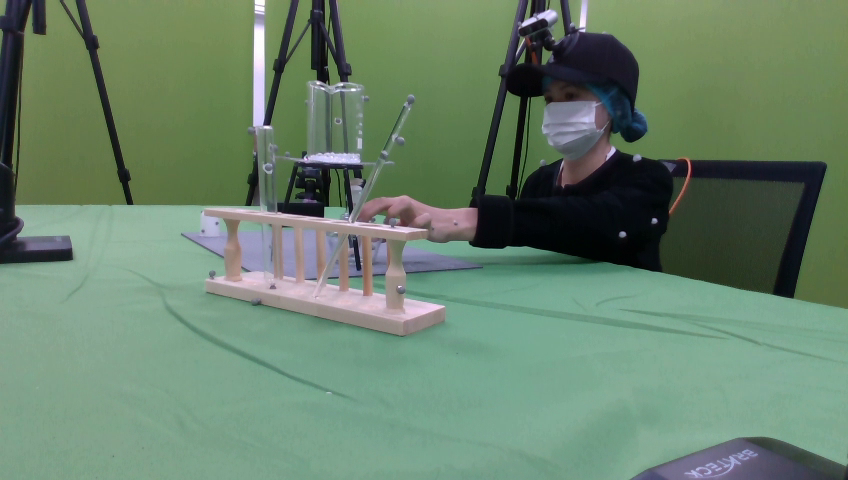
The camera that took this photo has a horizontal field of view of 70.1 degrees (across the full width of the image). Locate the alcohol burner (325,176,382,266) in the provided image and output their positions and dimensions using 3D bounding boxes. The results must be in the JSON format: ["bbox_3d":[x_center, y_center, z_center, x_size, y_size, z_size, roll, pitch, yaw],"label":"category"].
[{"bbox_3d":[-0.093,-0.025,0.801,0.078,0.119,0.078,1,8,0],"label":"alcohol burner"}]

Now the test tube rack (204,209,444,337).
[{"bbox_3d":[-0.100,0.021,0.565,0.241,0.085,0.067,7,9,32],"label":"test tube rack"}]

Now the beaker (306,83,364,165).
[{"bbox_3d":[-0.115,-0.147,0.775,0.074,0.100,0.084,2,8,-2],"label":"beaker"}]

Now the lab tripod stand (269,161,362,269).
[{"bbox_3d":[-0.125,-0.036,0.794,0.148,0.131,0.148,5,7,0],"label":"lab tripod stand"}]

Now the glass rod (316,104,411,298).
[{"bbox_3d":[-0.055,-0.026,0.517,0.008,0.199,0.008,23,25,-11],"label":"glass rod"}]

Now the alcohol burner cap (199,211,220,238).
[{"bbox_3d":[-0.356,-0.027,1.002,0.034,0.048,0.034,3,7,0],"label":"alcohol burner cap"}]

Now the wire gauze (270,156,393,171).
[{"bbox_3d":[-0.122,-0.100,0.786,0.122,0.011,0.124,-5,14,-38],"label":"wire gauze"}]

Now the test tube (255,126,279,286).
[{"bbox_3d":[-0.147,-0.031,0.566,0.017,0.150,0.017,-1,8,0],"label":"test tube"}]
